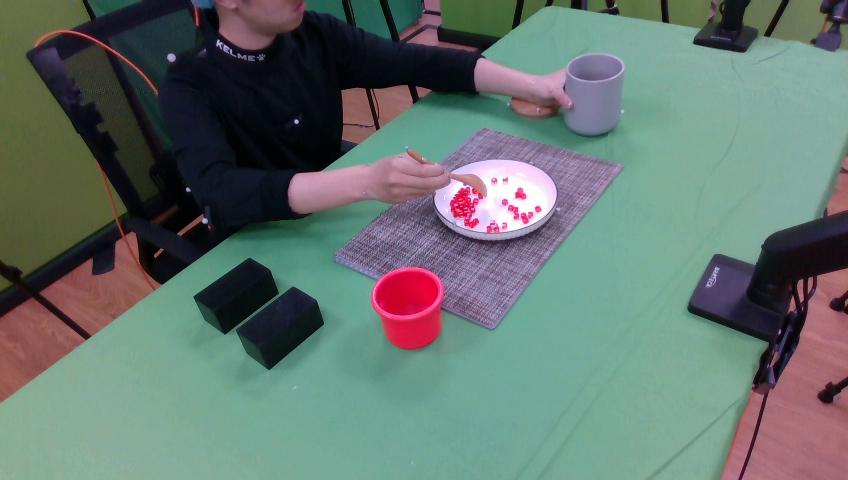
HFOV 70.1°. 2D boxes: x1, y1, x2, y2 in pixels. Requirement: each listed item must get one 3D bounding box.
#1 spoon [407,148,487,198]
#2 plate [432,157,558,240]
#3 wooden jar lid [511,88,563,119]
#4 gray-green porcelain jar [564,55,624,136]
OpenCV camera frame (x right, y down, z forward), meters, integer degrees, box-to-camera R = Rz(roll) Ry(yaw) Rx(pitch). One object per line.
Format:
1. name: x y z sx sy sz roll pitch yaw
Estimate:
1. spoon: 0.040 -0.103 0.940 0.195 0.021 0.041 16 45 -44
2. plate: 0.118 -0.066 1.013 0.207 0.039 0.206 -4 41 4
3. wooden jar lid: 0.237 -0.286 1.272 0.108 0.021 0.108 -5 42 5
4. gray-green porcelain jar: 0.323 -0.271 1.156 0.106 0.127 0.105 -5 44 5
